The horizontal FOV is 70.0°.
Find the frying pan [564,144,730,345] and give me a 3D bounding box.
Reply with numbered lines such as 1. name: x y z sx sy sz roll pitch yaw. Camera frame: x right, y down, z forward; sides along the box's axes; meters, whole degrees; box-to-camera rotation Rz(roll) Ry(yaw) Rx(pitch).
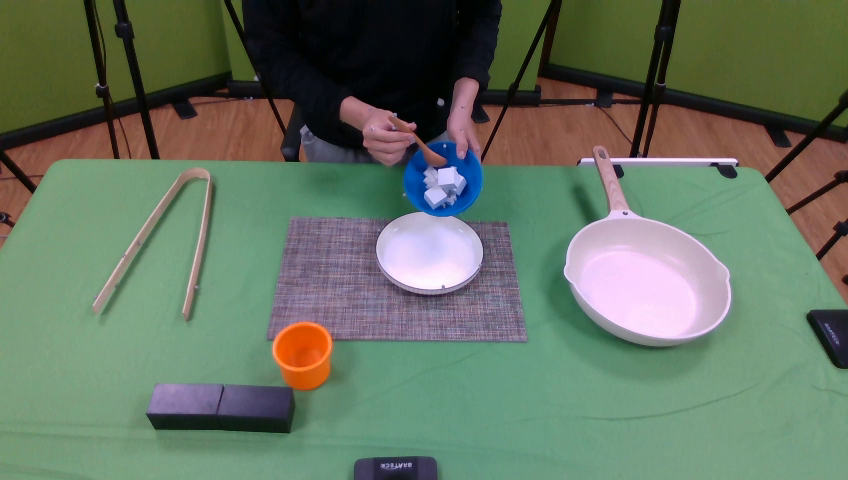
1. frying pan: 0.396 -0.008 1.179 0.307 0.103 0.484 0 55 -5

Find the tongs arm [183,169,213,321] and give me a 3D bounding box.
1. tongs arm: -0.436 -0.005 1.166 0.028 0.028 0.385 -5 46 -6

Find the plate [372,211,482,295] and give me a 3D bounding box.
1. plate: 0.005 0.028 1.155 0.208 0.039 0.206 2 46 -2

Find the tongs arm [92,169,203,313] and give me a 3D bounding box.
1. tongs arm: -0.517 -0.012 1.160 0.051 0.026 0.382 7 45 1

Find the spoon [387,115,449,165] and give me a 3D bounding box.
1. spoon: -0.012 -0.178 1.089 0.041 0.195 0.021 -7 65 30

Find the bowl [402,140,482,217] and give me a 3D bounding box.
1. bowl: 0.038 -0.106 1.159 0.151 0.077 0.151 -2 73 8
